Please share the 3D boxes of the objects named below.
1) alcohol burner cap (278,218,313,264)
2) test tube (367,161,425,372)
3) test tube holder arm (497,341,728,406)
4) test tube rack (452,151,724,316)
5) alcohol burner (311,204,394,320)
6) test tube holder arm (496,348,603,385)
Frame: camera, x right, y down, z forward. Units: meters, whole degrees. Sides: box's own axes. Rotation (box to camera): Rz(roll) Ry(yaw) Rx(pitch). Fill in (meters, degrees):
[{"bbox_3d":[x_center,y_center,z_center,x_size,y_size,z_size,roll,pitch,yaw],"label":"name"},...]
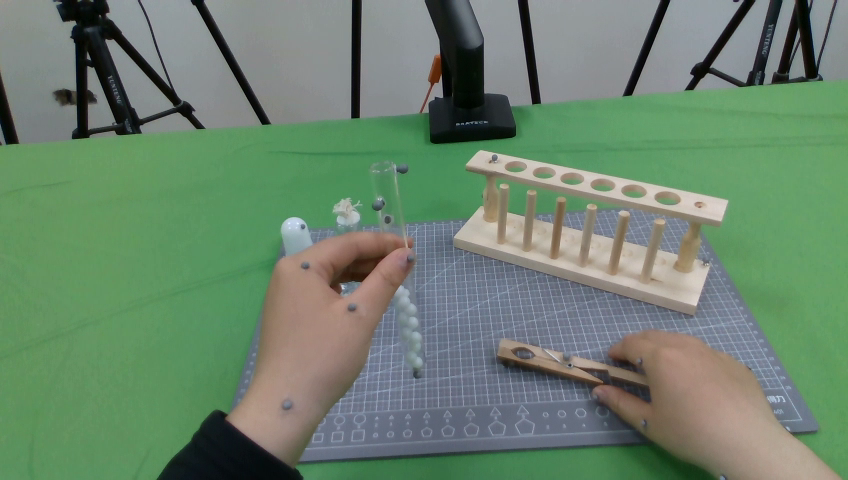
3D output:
[{"bbox_3d":[-0.138,-0.002,0.644,0.034,0.048,0.033,-2,38,2],"label":"alcohol burner cap"},{"bbox_3d":[-0.016,0.023,0.381,0.017,0.151,0.017,-7,28,4],"label":"test tube"},{"bbox_3d":[0.146,0.106,0.486,0.177,0.015,0.013,9,73,18],"label":"test tube holder arm"},{"bbox_3d":[0.147,-0.013,0.588,0.241,0.086,0.066,16,43,26],"label":"test tube rack"},{"bbox_3d":[-0.067,0.016,0.554,0.078,0.120,0.077,-2,39,2],"label":"alcohol burner"},{"bbox_3d":[0.103,0.104,0.498,0.087,0.015,0.010,10,74,18],"label":"test tube holder arm"}]
